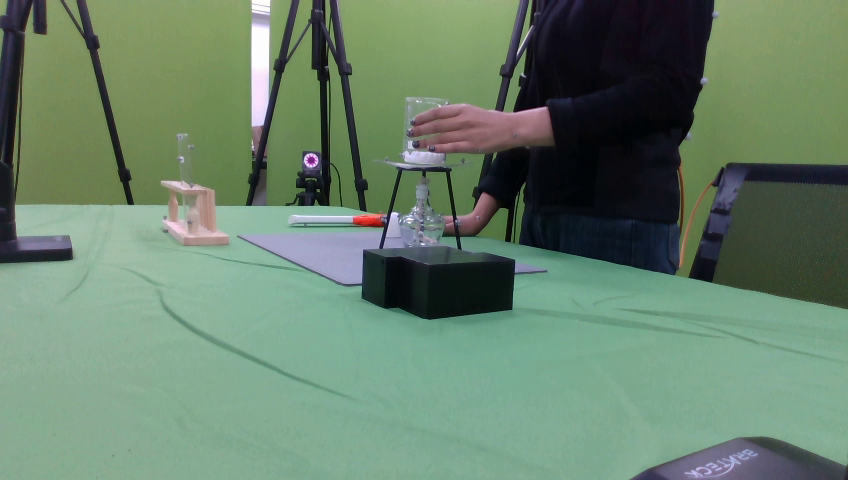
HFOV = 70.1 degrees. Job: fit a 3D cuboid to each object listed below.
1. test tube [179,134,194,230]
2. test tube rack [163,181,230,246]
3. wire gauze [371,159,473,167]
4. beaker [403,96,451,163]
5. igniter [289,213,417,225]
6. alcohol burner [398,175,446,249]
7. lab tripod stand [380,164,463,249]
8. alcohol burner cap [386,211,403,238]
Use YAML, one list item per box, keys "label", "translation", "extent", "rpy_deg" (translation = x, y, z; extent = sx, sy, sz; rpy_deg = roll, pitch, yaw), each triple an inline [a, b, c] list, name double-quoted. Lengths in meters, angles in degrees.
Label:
- label: "test tube"
  translation: [-0.366, -0.089, 0.938]
  extent: [0.017, 0.150, 0.017]
  rpy_deg: [-1, 9, 1]
- label: "test tube rack"
  translation: [-0.387, -0.050, 1.015]
  extent: [0.067, 0.085, 0.241]
  rpy_deg: [-2, 9, -30]
- label: "wire gauze"
  translation: [-0.004, -0.122, 0.959]
  extent: [0.122, 0.011, 0.124]
  rpy_deg: [-4, 9, -33]
- label: "beaker"
  translation: [0.004, -0.175, 0.958]
  extent: [0.073, 0.100, 0.084]
  rpy_deg: [11, 12, 35]
- label: "igniter"
  translation: [-0.144, -0.044, 1.275]
  extent: [0.278, 0.025, 0.057]
  rpy_deg: [-1, -2, -27]
- label: "alcohol burner"
  translation: [-0.002, -0.046, 0.973]
  extent: [0.078, 0.119, 0.078]
  rpy_deg: [0, 7, 0]
- label: "lab tripod stand"
  translation: [-0.003, -0.055, 0.967]
  extent: [0.148, 0.131, 0.148]
  rpy_deg: [2, 9, 0]
- label: "alcohol burner cap"
  translation: [-0.053, -0.029, 1.107]
  extent: [0.034, 0.048, 0.034]
  rpy_deg: [3, 8, 0]
